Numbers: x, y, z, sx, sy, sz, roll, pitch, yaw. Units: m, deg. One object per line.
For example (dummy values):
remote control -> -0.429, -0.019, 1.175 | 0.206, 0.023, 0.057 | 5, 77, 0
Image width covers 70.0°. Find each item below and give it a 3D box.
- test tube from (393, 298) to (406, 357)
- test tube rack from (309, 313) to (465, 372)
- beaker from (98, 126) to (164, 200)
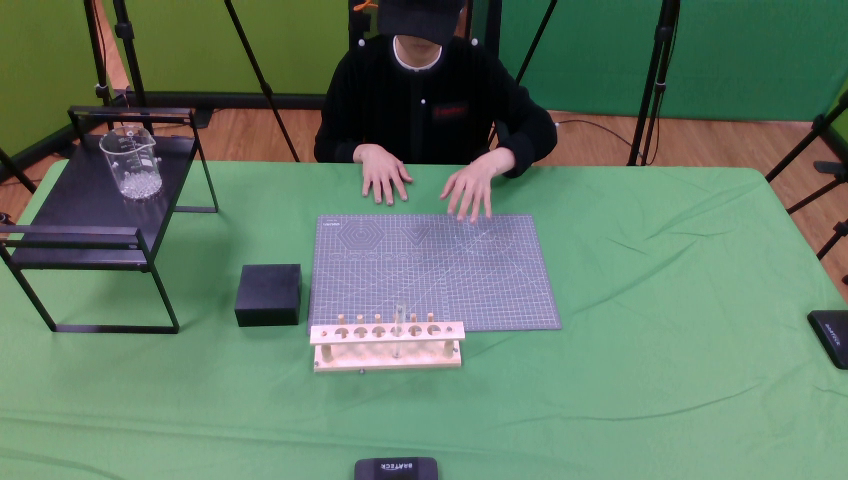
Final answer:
test tube -> -0.039, 0.139, 0.943 | 0.017, 0.151, 0.017 | 3, 48, -3
test tube rack -> -0.059, 0.161, 0.990 | 0.242, 0.085, 0.066 | -1, 46, -5
beaker -> -0.464, -0.122, 0.977 | 0.084, 0.101, 0.073 | 0, 46, -5
